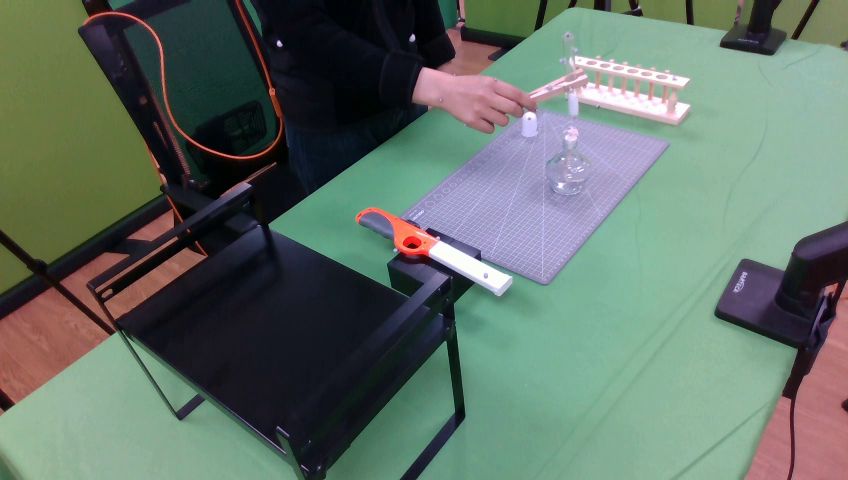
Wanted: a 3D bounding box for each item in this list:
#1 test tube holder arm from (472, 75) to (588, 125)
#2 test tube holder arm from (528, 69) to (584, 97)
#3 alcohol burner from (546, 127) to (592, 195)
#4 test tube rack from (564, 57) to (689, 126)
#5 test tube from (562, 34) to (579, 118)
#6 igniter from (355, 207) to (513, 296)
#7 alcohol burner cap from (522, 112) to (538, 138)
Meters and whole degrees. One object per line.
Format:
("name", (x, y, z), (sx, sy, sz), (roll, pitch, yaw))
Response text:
("test tube holder arm", (0.158, -0.210, 0.909), (0.178, 0.015, 0.013), (-20, 49, 6))
("test tube holder arm", (0.198, -0.231, 0.908), (0.088, 0.015, 0.010), (-25, 49, 2))
("alcohol burner", (0.246, -0.137, 1.024), (0.078, 0.119, 0.077), (-4, 38, 4))
("test tube rack", (0.411, -0.311, 1.231), (0.240, 0.085, 0.067), (24, 49, 32))
("test tube", (0.218, -0.239, 0.899), (0.017, 0.151, 0.017), (-9, 52, 12))
("igniter", (0.006, 0.010, 0.885), (0.274, 0.025, 0.057), (27, 53, 30))
("alcohol burner cap", (0.210, -0.230, 1.195), (0.034, 0.048, 0.033), (-6, 41, 5))
